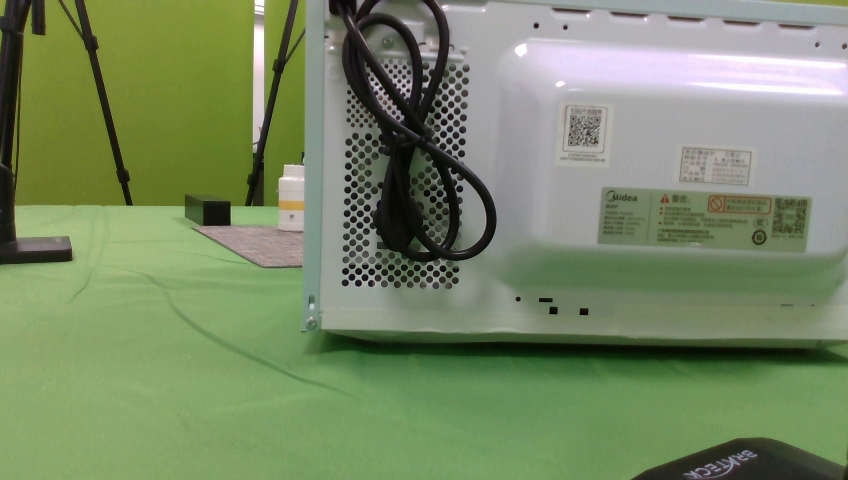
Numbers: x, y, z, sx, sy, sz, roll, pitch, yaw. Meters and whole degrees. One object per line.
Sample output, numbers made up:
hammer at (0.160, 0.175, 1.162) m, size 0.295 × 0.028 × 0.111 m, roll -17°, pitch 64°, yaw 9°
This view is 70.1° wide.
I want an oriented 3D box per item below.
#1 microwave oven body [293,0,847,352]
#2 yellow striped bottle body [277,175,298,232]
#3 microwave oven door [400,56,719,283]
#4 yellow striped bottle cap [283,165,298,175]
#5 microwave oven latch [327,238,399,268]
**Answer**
microwave oven body at (0.122, -0.055, 0.550) m, size 0.442 × 0.260 × 0.325 m, roll 3°, pitch 7°, yaw -5°
yellow striped bottle body at (-0.242, -0.078, 1.130) m, size 0.063 × 0.120 × 0.063 m, roll 2°, pitch 8°, yaw 0°
microwave oven door at (0.155, -0.077, 0.698) m, size 0.356 × 0.243 × 0.039 m, roll 2°, pitch 8°, yaw -5°
yellow striped bottle cap at (-0.240, -0.129, 1.124) m, size 0.044 × 0.018 × 0.044 m, roll 5°, pitch 7°, yaw 0°
microwave oven latch at (-0.069, 0.015, 0.694) m, size 0.079 × 0.029 × 0.030 m, roll 3°, pitch 7°, yaw -3°
